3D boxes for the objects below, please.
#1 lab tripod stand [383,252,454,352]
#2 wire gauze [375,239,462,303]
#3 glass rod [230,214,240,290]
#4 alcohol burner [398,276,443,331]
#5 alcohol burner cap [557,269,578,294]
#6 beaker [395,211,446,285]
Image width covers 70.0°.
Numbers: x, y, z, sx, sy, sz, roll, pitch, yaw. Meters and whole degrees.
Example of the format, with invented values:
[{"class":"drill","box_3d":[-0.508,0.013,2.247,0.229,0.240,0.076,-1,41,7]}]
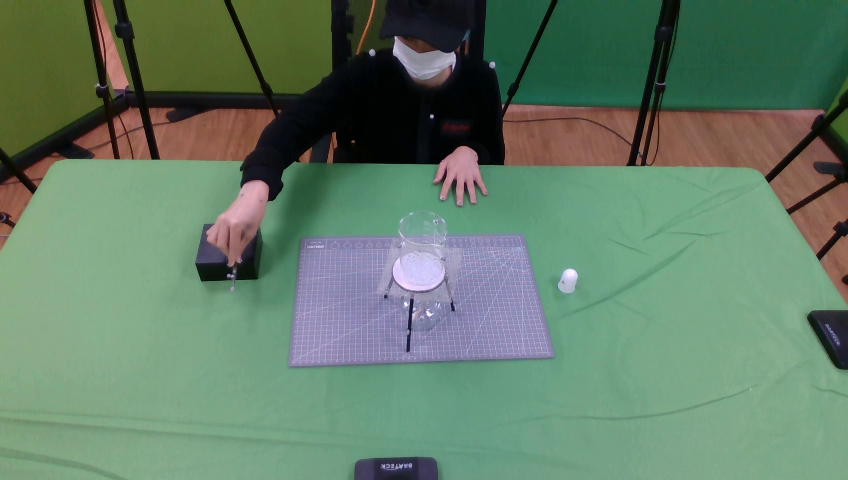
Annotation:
[{"class":"lab tripod stand","box_3d":[-0.016,0.094,1.025,0.148,0.132,0.147,1,46,-1]},{"class":"wire gauze","box_3d":[-0.006,0.049,0.978,0.121,0.011,0.124,10,44,5]},{"class":"glass rod","box_3d":[-0.340,0.017,1.089,0.008,0.008,0.198,-5,43,-9]},{"class":"alcohol burner","box_3d":[-0.005,0.101,1.033,0.078,0.119,0.077,3,48,-3]},{"class":"alcohol burner cap","box_3d":[0.270,0.074,1.135,0.034,0.048,0.033,2,46,-2]},{"class":"beaker","box_3d":[-0.002,0.017,0.941,0.083,0.101,0.074,36,54,29]}]
